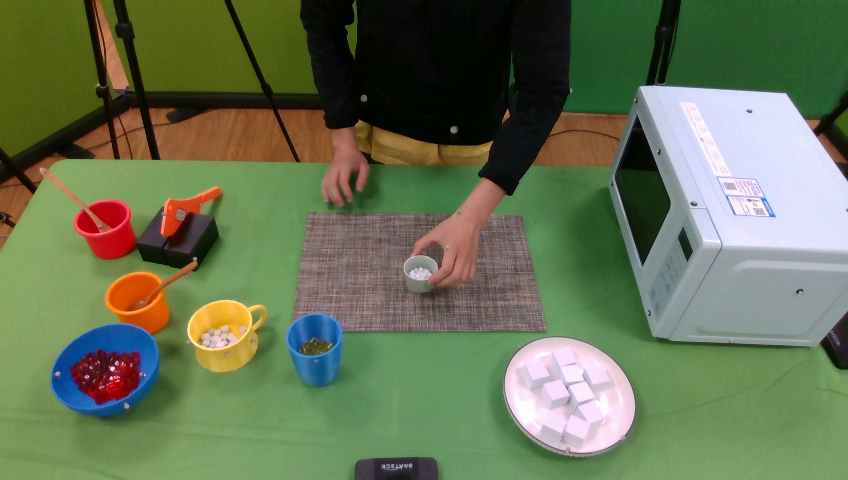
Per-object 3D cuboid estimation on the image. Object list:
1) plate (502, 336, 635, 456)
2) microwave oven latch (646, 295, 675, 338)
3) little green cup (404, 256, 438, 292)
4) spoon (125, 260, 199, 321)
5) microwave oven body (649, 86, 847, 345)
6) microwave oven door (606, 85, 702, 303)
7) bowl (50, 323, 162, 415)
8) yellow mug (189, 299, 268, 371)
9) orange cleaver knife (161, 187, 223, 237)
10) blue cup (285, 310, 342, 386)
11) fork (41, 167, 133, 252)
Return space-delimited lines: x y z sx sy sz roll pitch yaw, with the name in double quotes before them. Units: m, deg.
"plate" 0.225 0.248 0.963 0.208 0.039 0.206 2 46 -2
"microwave oven latch" 0.412 0.134 1.061 0.030 0.029 0.078 3 45 1
"little green cup" -0.007 0.062 1.073 0.061 0.039 0.061 6 43 -5
"spoon" -0.434 0.083 0.999 0.022 0.194 0.041 35 34 -35
"microwave oven body" 0.568 -0.053 1.118 0.326 0.261 0.439 2 45 -1
"microwave oven door" 0.423 -0.094 1.141 0.039 0.245 0.353 2 46 -1
"bowl" -0.472 0.209 0.924 0.151 0.077 0.150 3 45 -2
"yellow mug" -0.316 0.148 1.002 0.131 0.064 0.099 -33 56 -31
"orange cleaver knife" -0.448 -0.058 1.181 0.012 0.077 0.211 13 17 6
"blue cup" -0.170 0.179 0.958 0.093 0.101 0.092 1 44 -1
"fork" -0.624 -0.056 1.121 0.208 0.018 0.028 49 51 -15
